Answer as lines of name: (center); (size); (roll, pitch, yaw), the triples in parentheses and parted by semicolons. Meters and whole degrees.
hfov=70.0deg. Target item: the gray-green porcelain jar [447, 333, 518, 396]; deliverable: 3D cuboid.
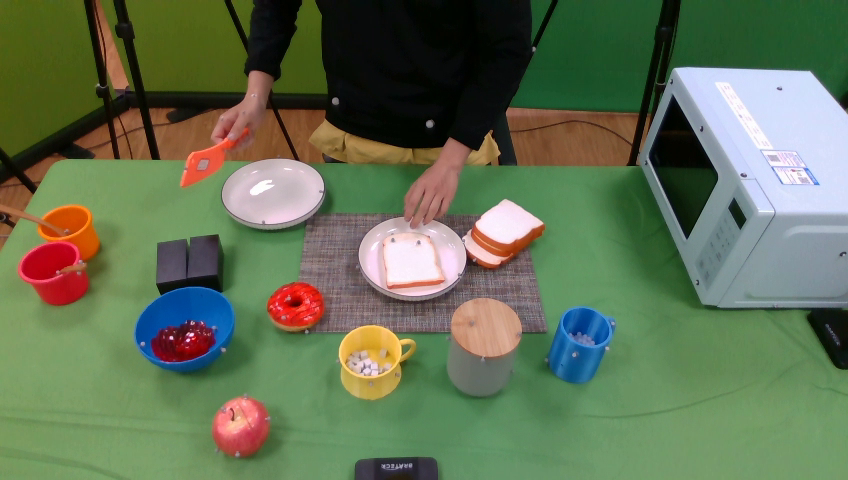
gray-green porcelain jar: (0.091, 0.178, 0.960); (0.106, 0.127, 0.105); (2, 46, -2)

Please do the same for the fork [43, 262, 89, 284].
fork: (-0.599, 0.053, 1.014); (0.207, 0.019, 0.028); (-14, 30, 45)

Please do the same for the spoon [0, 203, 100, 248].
spoon: (-0.683, -0.031, 1.088); (0.195, 0.021, 0.041); (33, 33, -38)

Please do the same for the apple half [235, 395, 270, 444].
apple half: (-0.245, 0.259, 0.893); (0.033, 0.082, 0.081); (-29, 55, -22)

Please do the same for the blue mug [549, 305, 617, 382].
blue mug: (0.269, 0.166, 0.998); (0.116, 0.106, 0.082); (-19, 51, -21)

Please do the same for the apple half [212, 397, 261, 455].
apple half: (-0.276, 0.276, 0.877); (0.053, 0.075, 0.080); (-29, 58, -21)

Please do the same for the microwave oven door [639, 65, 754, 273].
microwave oven door: (0.522, -0.147, 1.193); (0.039, 0.245, 0.353); (0, 47, -3)

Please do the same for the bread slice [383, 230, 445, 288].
bread slice: (-0.028, 0.035, 1.144); (0.107, 0.018, 0.133); (-7, 48, -12)

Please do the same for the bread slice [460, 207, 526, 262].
bread slice: (0.127, -0.008, 1.194); (0.104, 0.019, 0.131); (20, 49, 24)

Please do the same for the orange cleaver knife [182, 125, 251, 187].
orange cleaver knife: (-0.395, -0.164, 1.160); (0.012, 0.077, 0.210); (24, 33, 5)

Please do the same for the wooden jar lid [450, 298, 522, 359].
wooden jar lid: (0.093, 0.135, 0.914); (0.108, 0.021, 0.107); (3, 48, -3)

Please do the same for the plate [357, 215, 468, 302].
plate: (-0.022, 0.037, 1.141); (0.208, 0.039, 0.206); (2, 46, -2)

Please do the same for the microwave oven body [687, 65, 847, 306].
microwave oven body: (0.669, -0.111, 1.176); (0.326, 0.261, 0.439); (0, 46, -3)

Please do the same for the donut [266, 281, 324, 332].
donut: (-0.222, 0.114, 1.049); (0.099, 0.048, 0.098); (2, 45, -2)

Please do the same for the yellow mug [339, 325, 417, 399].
yellow mug: (-0.072, 0.191, 0.978); (0.131, 0.064, 0.099); (-17, 49, -20)

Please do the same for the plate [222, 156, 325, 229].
plate: (-0.308, -0.095, 1.251); (0.209, 0.038, 0.208); (3, 47, -3)

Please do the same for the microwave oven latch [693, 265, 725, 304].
microwave oven latch: (0.522, 0.081, 1.116); (0.030, 0.029, 0.078); (2, 46, -1)

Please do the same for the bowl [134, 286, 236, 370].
bowl: (-0.377, 0.155, 0.981); (0.151, 0.077, 0.150); (2, 46, -2)
